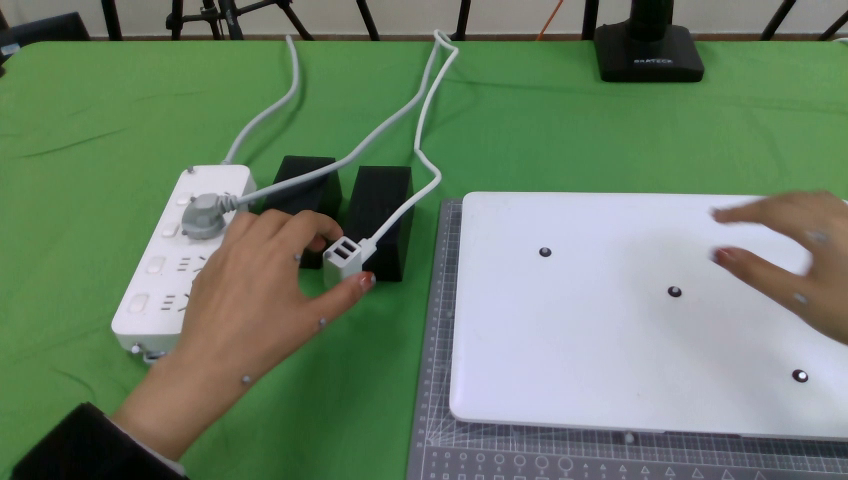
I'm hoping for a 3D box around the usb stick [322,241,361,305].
[{"bbox_3d":[-0.066,0.029,0.486,0.021,0.059,0.027,32,52,15],"label":"usb stick"}]

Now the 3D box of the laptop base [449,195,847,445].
[{"bbox_3d":[0.202,0.054,0.498,0.354,0.023,0.233,1,50,5],"label":"laptop base"}]

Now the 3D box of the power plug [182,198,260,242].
[{"bbox_3d":[-0.182,-0.011,0.544,0.072,0.053,0.035,7,47,11],"label":"power plug"}]

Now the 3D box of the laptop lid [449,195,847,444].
[{"bbox_3d":[0.201,0.048,0.488,0.356,0.013,0.239,2,49,6],"label":"laptop lid"}]

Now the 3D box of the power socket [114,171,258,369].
[{"bbox_3d":[-0.210,0.013,0.556,0.072,0.033,0.224,0,46,3],"label":"power socket"}]
